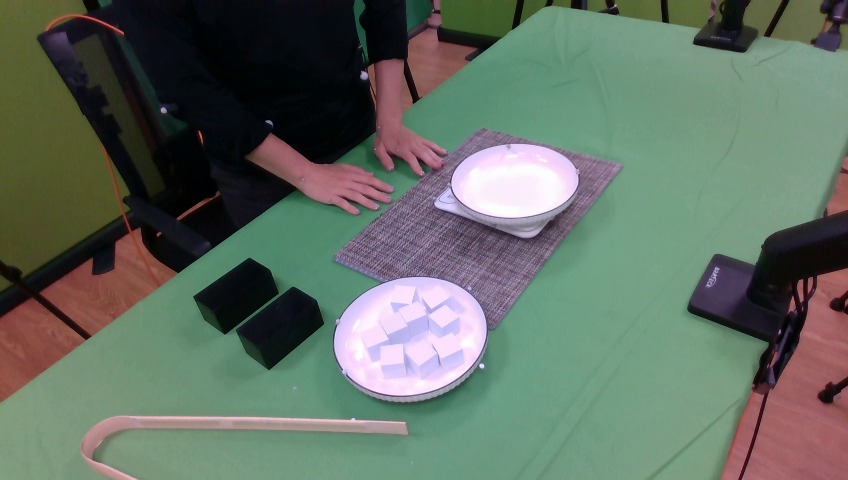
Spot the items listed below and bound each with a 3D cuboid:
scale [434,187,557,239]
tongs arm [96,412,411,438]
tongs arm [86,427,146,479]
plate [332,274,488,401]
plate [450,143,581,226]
[{"bbox_3d":[0.132,-0.075,1.025,0.199,0.032,0.149,22,48,30],"label":"scale"},{"bbox_3d":[-0.208,0.226,0.731,0.387,0.028,0.028,-1,44,8],"label":"tongs arm"},{"bbox_3d":[-0.232,0.280,0.665,0.383,0.026,0.051,9,43,20],"label":"tongs arm"},{"bbox_3d":[-0.017,0.131,0.808,0.207,0.039,0.206,-4,41,4],"label":"plate"},{"bbox_3d":[0.148,-0.087,0.986,0.209,0.038,0.208,-4,41,4],"label":"plate"}]
